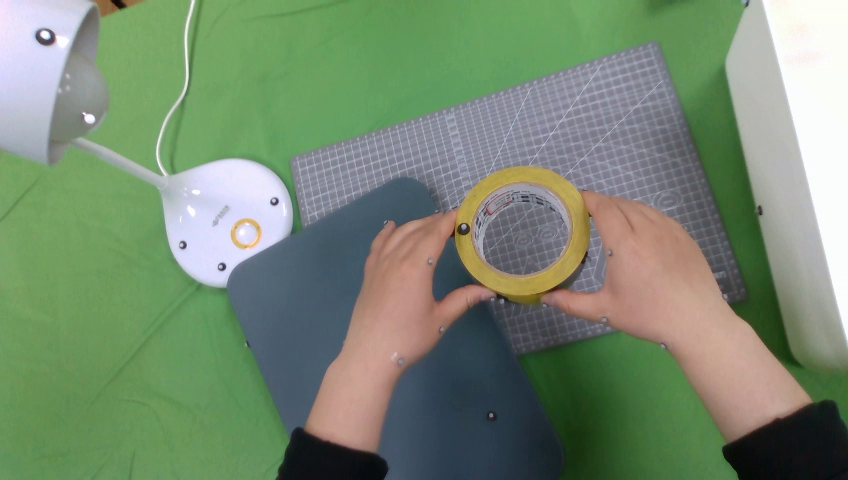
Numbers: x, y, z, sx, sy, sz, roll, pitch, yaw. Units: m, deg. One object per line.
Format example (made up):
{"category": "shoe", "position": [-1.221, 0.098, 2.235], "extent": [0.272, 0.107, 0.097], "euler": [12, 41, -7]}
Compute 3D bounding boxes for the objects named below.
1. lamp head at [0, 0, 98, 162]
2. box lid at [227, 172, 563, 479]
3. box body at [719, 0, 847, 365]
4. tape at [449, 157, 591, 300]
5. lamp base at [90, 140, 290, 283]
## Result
{"category": "lamp head", "position": [-0.282, -0.118, 0.380], "extent": [0.123, 0.112, 0.112], "euler": [15, 81, -19]}
{"category": "box lid", "position": [-0.044, 0.128, 0.667], "extent": [0.263, 0.015, 0.369], "euler": [-29, 77, 3]}
{"category": "box body", "position": [0.434, -0.079, 0.531], "extent": [0.254, 0.161, 0.362], "euler": [-9, 77, 11]}
{"category": "tape", "position": [0.082, -0.009, 0.514], "extent": [0.116, 0.053, 0.116], "euler": [-3, 76, 12]}
{"category": "lamp base", "position": [-0.267, -0.048, 0.671], "extent": [0.178, 0.181, 0.160], "euler": [24, 84, 19]}
